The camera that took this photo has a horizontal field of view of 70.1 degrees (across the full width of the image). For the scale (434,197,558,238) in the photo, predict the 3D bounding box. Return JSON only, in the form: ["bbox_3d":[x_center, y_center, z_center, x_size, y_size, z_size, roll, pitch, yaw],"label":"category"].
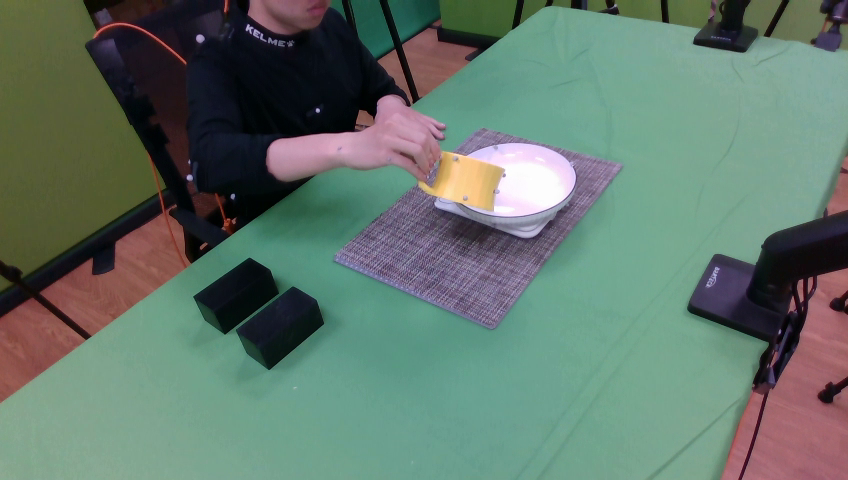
[{"bbox_3d":[0.132,-0.075,1.025,0.199,0.032,0.149,22,48,30],"label":"scale"}]

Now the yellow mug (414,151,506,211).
[{"bbox_3d":[0.047,-0.088,0.861,0.132,0.064,0.099,13,5,-25],"label":"yellow mug"}]

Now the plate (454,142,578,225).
[{"bbox_3d":[0.145,-0.089,0.989,0.209,0.038,0.208,-4,41,4],"label":"plate"}]
